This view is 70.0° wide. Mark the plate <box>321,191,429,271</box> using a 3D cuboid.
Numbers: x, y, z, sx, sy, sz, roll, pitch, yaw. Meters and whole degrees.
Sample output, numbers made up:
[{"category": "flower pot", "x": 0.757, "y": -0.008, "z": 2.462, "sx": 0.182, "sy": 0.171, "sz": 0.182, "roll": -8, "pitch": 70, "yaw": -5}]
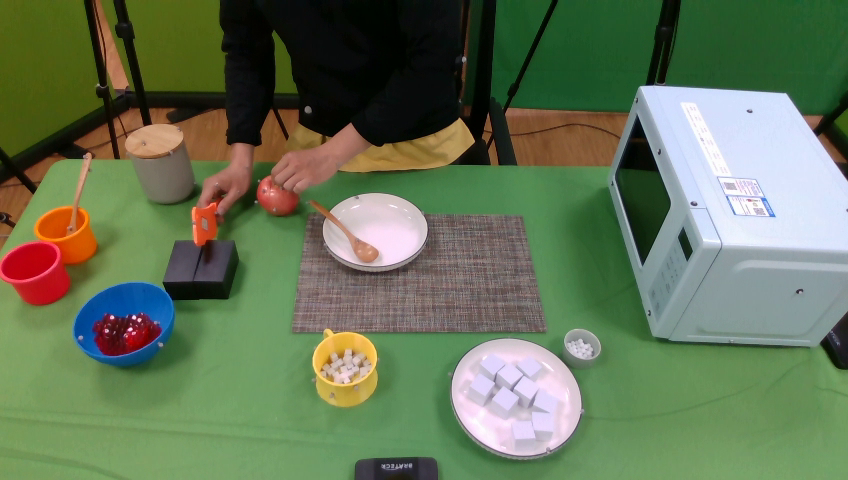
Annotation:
[{"category": "plate", "x": -0.094, "y": -0.015, "z": 1.185, "sx": 0.209, "sy": 0.038, "sz": 0.208, "roll": 2, "pitch": 46, "yaw": -2}]

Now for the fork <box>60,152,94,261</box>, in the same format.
[{"category": "fork", "x": -0.638, "y": -0.063, "z": 1.119, "sx": 0.028, "sy": 0.018, "sz": 0.207, "roll": 12, "pitch": 90, "yaw": 8}]

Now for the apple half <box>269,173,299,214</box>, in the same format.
[{"category": "apple half", "x": -0.280, "y": -0.092, "z": 1.227, "sx": 0.053, "sy": 0.075, "sz": 0.080, "roll": 0, "pitch": 44, "yaw": -6}]

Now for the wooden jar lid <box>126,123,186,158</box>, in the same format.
[{"category": "wooden jar lid", "x": -0.519, "y": -0.190, "z": 1.179, "sx": 0.108, "sy": 0.021, "sz": 0.107, "roll": 2, "pitch": 44, "yaw": -2}]

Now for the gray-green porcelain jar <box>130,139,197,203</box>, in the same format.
[{"category": "gray-green porcelain jar", "x": -0.523, "y": -0.148, "z": 1.225, "sx": 0.106, "sy": 0.127, "sz": 0.105, "roll": 2, "pitch": 47, "yaw": -2}]

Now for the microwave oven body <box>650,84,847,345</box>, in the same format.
[{"category": "microwave oven body", "x": 0.569, "y": -0.054, "z": 1.116, "sx": 0.326, "sy": 0.261, "sz": 0.439, "roll": 2, "pitch": 46, "yaw": -1}]

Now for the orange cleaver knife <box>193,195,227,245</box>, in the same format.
[{"category": "orange cleaver knife", "x": -0.406, "y": -0.042, "z": 1.157, "sx": 0.012, "sy": 0.077, "sz": 0.210, "roll": -4, "pitch": 14, "yaw": -2}]

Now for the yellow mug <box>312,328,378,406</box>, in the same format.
[{"category": "yellow mug", "x": -0.132, "y": 0.193, "z": 0.971, "sx": 0.100, "sy": 0.064, "sz": 0.130, "roll": -22, "pitch": 51, "yaw": -22}]

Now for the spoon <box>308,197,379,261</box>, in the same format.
[{"category": "spoon", "x": -0.159, "y": -0.025, "z": 1.171, "sx": 0.041, "sy": 0.022, "sz": 0.193, "roll": -40, "pitch": 72, "yaw": -21}]

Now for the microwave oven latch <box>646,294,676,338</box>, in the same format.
[{"category": "microwave oven latch", "x": 0.413, "y": 0.133, "z": 1.061, "sx": 0.030, "sy": 0.029, "sz": 0.078, "roll": 4, "pitch": 46, "yaw": 1}]

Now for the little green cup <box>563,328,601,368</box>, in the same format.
[{"category": "little green cup", "x": 0.265, "y": 0.185, "z": 1.025, "sx": 0.061, "sy": 0.039, "sz": 0.061, "roll": 1, "pitch": 45, "yaw": -1}]

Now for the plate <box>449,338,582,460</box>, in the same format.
[{"category": "plate", "x": 0.141, "y": 0.251, "z": 0.956, "sx": 0.208, "sy": 0.039, "sz": 0.206, "roll": 2, "pitch": 46, "yaw": -2}]

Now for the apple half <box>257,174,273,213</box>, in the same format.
[{"category": "apple half", "x": -0.319, "y": -0.091, "z": 1.223, "sx": 0.033, "sy": 0.081, "sz": 0.081, "roll": 1, "pitch": 47, "yaw": -8}]

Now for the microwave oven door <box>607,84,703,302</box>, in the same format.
[{"category": "microwave oven door", "x": 0.423, "y": -0.096, "z": 1.137, "sx": 0.039, "sy": 0.245, "sz": 0.353, "roll": 3, "pitch": 46, "yaw": -1}]

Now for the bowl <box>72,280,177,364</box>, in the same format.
[{"category": "bowl", "x": -0.473, "y": 0.147, "z": 0.982, "sx": 0.151, "sy": 0.077, "sz": 0.150, "roll": 2, "pitch": 46, "yaw": -2}]
